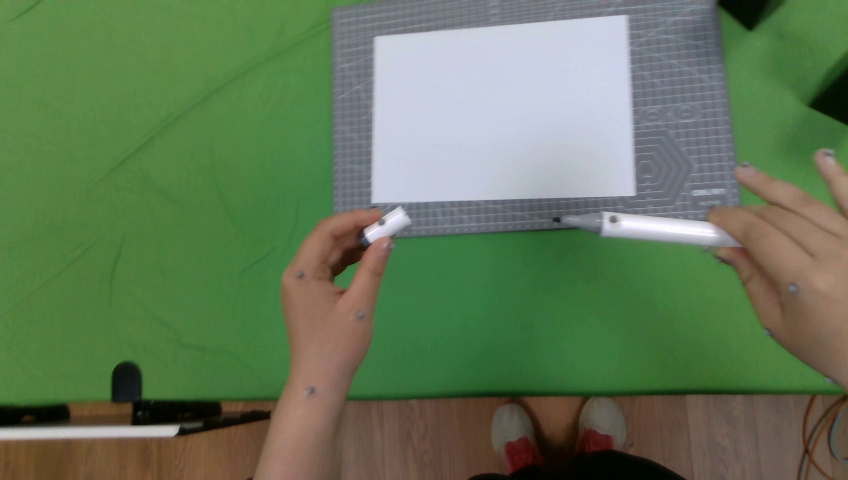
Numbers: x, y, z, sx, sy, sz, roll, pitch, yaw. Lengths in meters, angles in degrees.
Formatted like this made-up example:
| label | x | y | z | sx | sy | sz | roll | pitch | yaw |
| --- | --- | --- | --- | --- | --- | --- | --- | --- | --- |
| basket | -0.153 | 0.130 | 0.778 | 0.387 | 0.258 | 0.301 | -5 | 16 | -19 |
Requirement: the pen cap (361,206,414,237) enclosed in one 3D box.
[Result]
| label | x | y | z | sx | sy | sz | roll | pitch | yaw |
| --- | --- | --- | --- | --- | --- | --- | --- | --- | --- |
| pen cap | -0.027 | -0.012 | 0.435 | 0.038 | 0.017 | 0.017 | -13 | 78 | 26 |

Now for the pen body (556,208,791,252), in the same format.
| label | x | y | z | sx | sy | sz | roll | pitch | yaw |
| --- | --- | --- | --- | --- | --- | --- | --- | --- | --- |
| pen body | 0.156 | -0.007 | 0.386 | 0.144 | 0.017 | 0.017 | 7 | 82 | 2 |
